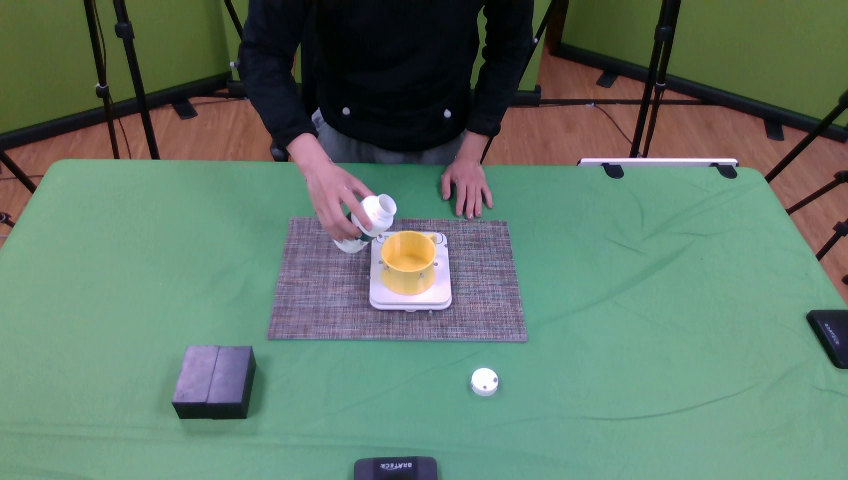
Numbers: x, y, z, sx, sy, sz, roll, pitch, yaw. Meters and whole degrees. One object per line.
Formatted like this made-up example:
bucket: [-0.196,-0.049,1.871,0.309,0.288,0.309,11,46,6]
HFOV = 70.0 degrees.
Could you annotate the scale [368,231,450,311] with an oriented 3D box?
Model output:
scale: [-0.029,0.048,1.137,0.149,0.032,0.199,1,46,-4]

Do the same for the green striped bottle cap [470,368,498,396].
green striped bottle cap: [0.098,0.231,0.989,0.044,0.020,0.044,2,43,-2]

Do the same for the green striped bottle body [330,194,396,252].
green striped bottle body: [-0.099,-0.031,1.017,0.063,0.119,0.063,28,46,-32]

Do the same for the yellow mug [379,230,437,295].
yellow mug: [-0.020,0.031,1.089,0.099,0.064,0.130,31,51,24]
